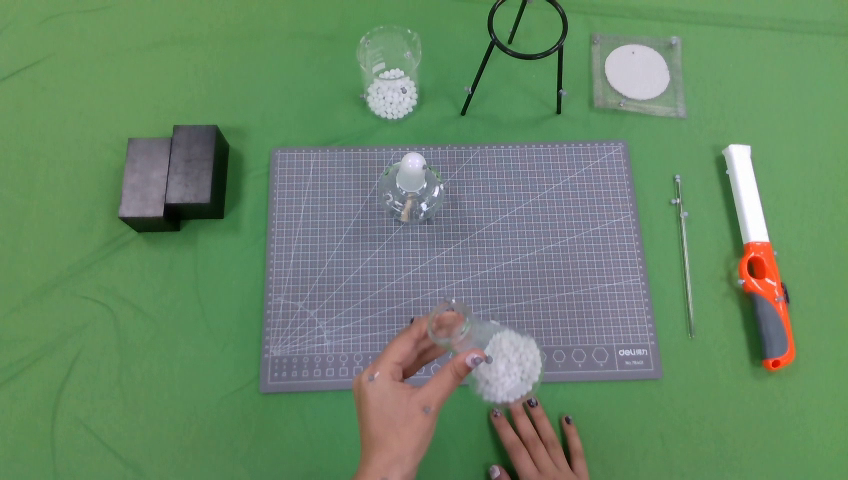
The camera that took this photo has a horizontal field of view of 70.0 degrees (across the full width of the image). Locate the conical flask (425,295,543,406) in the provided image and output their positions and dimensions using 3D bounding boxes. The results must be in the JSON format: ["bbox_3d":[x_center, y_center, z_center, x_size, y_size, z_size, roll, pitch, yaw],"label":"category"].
[{"bbox_3d":[0.046,0.088,0.508,0.075,0.123,0.074,-16,55,25],"label":"conical flask"}]

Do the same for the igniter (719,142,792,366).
[{"bbox_3d":[0.393,0.010,0.722,0.057,0.025,0.274,2,72,-12],"label":"igniter"}]

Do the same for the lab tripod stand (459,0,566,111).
[{"bbox_3d":[0.110,-0.221,0.732,0.148,0.132,0.147,0,74,-1],"label":"lab tripod stand"}]

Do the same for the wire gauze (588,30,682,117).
[{"bbox_3d":[0.280,-0.224,0.804,0.125,0.011,0.121,6,73,-2],"label":"wire gauze"}]

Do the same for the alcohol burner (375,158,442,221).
[{"bbox_3d":[-0.017,-0.066,0.687,0.078,0.119,0.077,1,71,-3],"label":"alcohol burner"}]

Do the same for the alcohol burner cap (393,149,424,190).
[{"bbox_3d":[-0.015,-0.079,0.654,0.034,0.048,0.033,4,65,-8],"label":"alcohol burner cap"}]

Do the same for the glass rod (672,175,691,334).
[{"bbox_3d":[0.309,0.014,0.729,0.008,0.008,0.198,3,72,-1],"label":"glass rod"}]

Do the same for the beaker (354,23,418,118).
[{"bbox_3d":[-0.042,-0.204,0.741,0.084,0.101,0.073,-41,78,-14],"label":"beaker"}]
